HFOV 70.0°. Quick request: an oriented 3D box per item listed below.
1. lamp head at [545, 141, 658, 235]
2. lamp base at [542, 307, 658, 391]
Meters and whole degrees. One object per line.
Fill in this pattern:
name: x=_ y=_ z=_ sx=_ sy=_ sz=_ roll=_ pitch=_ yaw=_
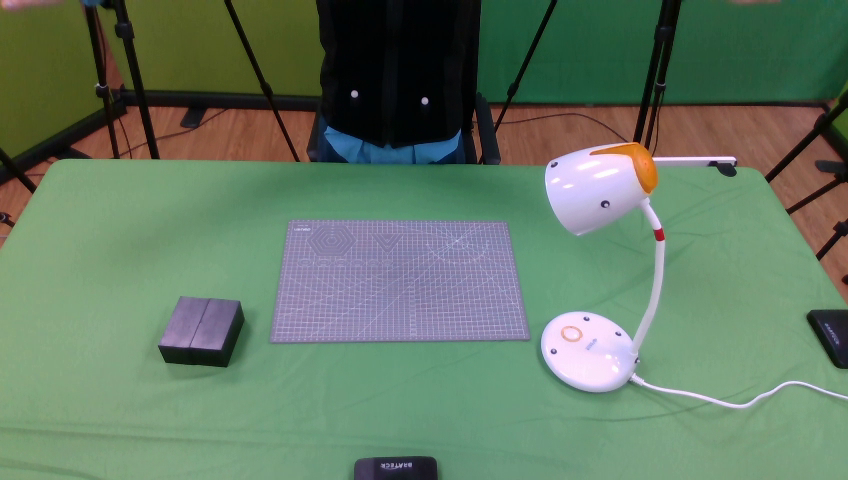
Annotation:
lamp head: x=0.237 y=-0.072 z=0.783 sx=0.123 sy=0.113 sz=0.112 roll=-16 pitch=33 yaw=37
lamp base: x=0.296 y=0.138 z=0.975 sx=0.178 sy=0.181 sz=0.160 roll=28 pitch=51 yaw=18
